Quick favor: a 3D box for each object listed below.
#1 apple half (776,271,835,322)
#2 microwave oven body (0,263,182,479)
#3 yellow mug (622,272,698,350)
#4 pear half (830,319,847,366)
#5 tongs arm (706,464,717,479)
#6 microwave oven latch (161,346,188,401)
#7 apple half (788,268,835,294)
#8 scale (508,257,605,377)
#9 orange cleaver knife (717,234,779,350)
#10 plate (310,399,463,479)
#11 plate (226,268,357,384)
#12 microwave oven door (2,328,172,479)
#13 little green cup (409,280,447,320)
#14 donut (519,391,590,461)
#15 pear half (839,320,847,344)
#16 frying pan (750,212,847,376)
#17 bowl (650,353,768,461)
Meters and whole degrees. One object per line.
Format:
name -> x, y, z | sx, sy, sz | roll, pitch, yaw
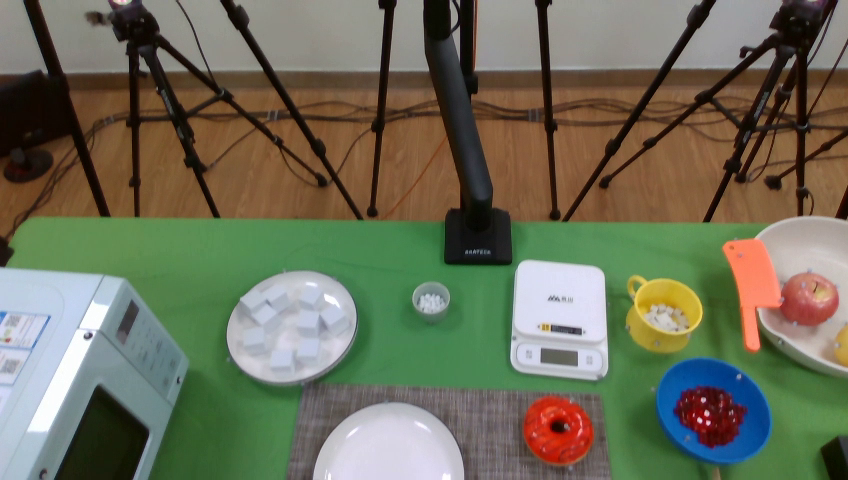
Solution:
apple half -> 0.587, 0.097, 0.947 | 0.080, 0.075, 0.053 | 38, 67, 22
microwave oven body -> -0.552, 0.274, 0.745 | 0.326, 0.262, 0.437 | 4, 54, 5
yellow mug -> 0.362, 0.103, 0.961 | 0.100, 0.064, 0.129 | -26, 56, -15
pear half -> 0.642, 0.149, 0.883 | 0.075, 0.111, 0.056 | 31, 61, 27
tongs arm -> 0.402, 0.463, 0.714 | 0.051, 0.027, 0.381 | 4, 55, -1
microwave oven latch -> -0.382, 0.200, 0.914 | 0.030, 0.030, 0.078 | 5, 55, 6
apple half -> 0.613, 0.073, 0.961 | 0.080, 0.082, 0.033 | 37, 67, 26
scale -> 0.214, 0.119, 0.977 | 0.148, 0.032, 0.199 | 5, 54, 7
orange cleaver knife -> 0.503, 0.074, 0.931 | 0.077, 0.012, 0.209 | 4, 54, 9
plate -> -0.049, 0.322, 0.829 | 0.209, 0.038, 0.207 | -1, 53, 2
plate -> -0.209, 0.139, 0.976 | 0.207, 0.039, 0.205 | -1, 53, 2
microwave oven door -> -0.412, 0.313, 0.704 | 0.039, 0.246, 0.352 | 3, 54, 5
little green cup -> 0.008, 0.101, 0.995 | 0.061, 0.039, 0.061 | -1, 53, 2
donut -> 0.184, 0.263, 0.859 | 0.099, 0.049, 0.098 | -2, 54, 3
pear half -> 0.667, 0.134, 0.905 | 0.070, 0.089, 0.031 | 25, 59, 26
frying pan -> 0.681, 0.152, 0.888 | 0.307, 0.104, 0.482 | -21, 47, -11
bowl -> 0.387, 0.243, 0.850 | 0.151, 0.077, 0.150 | -1, 54, 2
